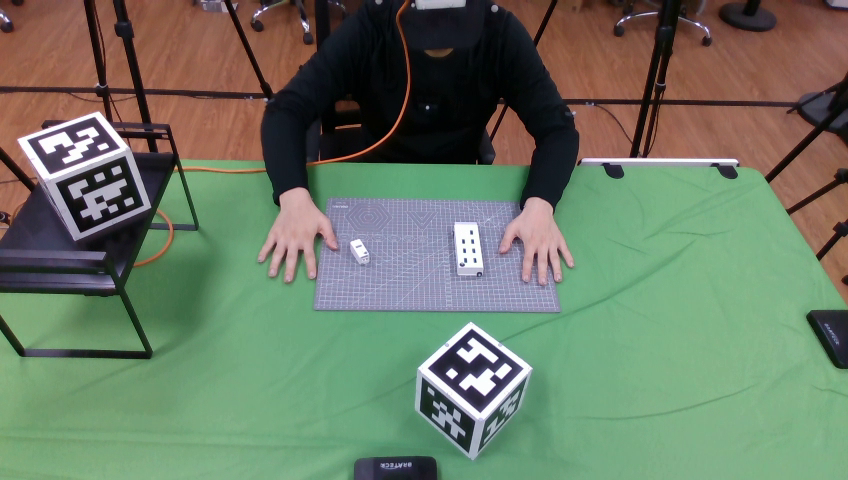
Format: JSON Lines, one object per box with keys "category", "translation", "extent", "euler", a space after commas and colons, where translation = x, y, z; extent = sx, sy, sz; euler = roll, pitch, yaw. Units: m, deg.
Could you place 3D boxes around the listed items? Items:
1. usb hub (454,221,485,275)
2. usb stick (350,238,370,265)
{"category": "usb hub", "translation": [0.087, 0.014, 1.178], "extent": [0.049, 0.025, 0.124], "euler": [0, 45, -3]}
{"category": "usb stick", "translation": [-0.120, 0.026, 1.149], "extent": [0.021, 0.027, 0.059], "euler": [-32, 49, 8]}
